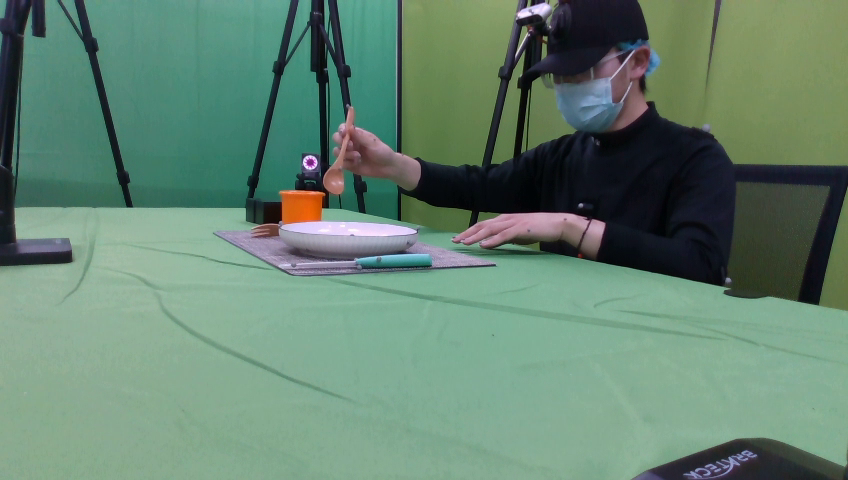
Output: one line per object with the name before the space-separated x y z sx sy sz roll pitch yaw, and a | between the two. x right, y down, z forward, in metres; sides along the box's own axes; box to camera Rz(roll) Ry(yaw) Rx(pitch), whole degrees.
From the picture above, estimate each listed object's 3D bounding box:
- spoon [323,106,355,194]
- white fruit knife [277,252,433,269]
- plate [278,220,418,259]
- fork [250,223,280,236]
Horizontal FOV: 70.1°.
spoon | -0.150 -0.169 1.113 0.042 0.193 0.021 23 -25 -26
white fruit knife | -0.082 0.029 0.772 0.208 0.016 0.027 -3 -20 -22
plate | -0.114 -0.002 0.914 0.209 0.038 0.209 2 7 0
fork | -0.194 -0.014 1.051 0.208 0.028 0.018 3 37 -15
